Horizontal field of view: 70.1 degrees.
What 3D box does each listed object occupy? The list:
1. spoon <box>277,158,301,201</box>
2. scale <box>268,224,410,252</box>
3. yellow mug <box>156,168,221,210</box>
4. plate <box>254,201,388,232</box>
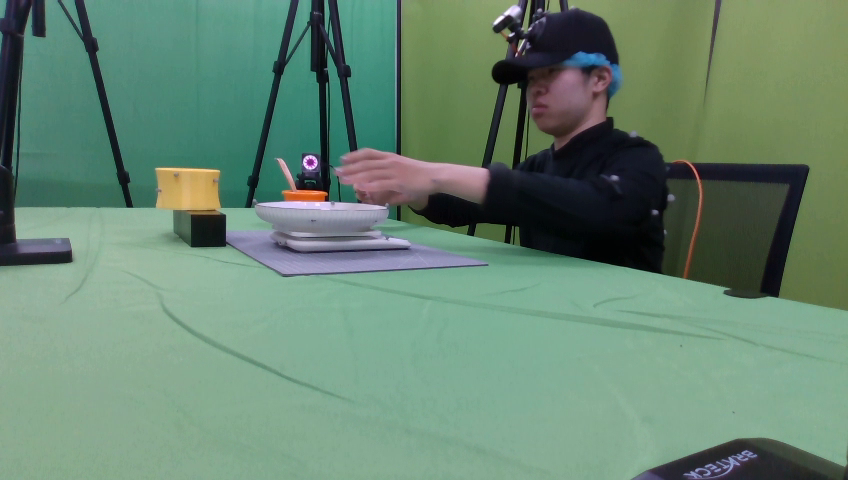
[{"bbox_3d":[-0.272,-0.103,1.260,0.042,0.193,0.021,-6,-33,-32],"label":"spoon"},{"bbox_3d":[-0.137,-0.006,0.980,0.202,0.031,0.148,-1,8,-30],"label":"scale"},{"bbox_3d":[-0.395,-0.088,1.025,0.100,0.064,0.130,2,7,-9],"label":"yellow mug"},{"bbox_3d":[-0.161,-0.038,0.961,0.209,0.038,0.209,2,6,0],"label":"plate"}]
